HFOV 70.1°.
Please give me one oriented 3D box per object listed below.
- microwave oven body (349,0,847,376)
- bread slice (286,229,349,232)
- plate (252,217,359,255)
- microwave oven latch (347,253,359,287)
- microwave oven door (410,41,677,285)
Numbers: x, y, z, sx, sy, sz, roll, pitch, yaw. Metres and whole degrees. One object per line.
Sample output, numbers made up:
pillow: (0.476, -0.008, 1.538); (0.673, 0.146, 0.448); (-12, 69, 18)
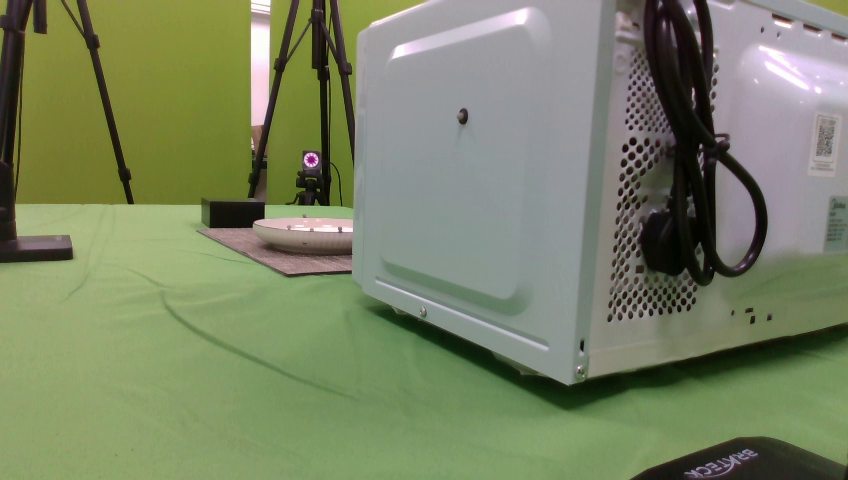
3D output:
microwave oven body: (0.199, -0.053, 0.540); (0.444, 0.260, 0.324); (-1, 7, -32)
bread slice: (-0.153, -0.005, 0.921); (0.132, 0.019, 0.104); (0, 7, -30)
plate: (-0.155, -0.007, 0.924); (0.209, 0.038, 0.209); (3, 7, 0)
microwave oven latch: (-0.034, 0.028, 0.580); (0.079, 0.029, 0.030); (-1, 7, -31)
microwave oven door: (0.154, -0.080, 0.692); (0.358, 0.243, 0.039); (-2, 8, -29)
